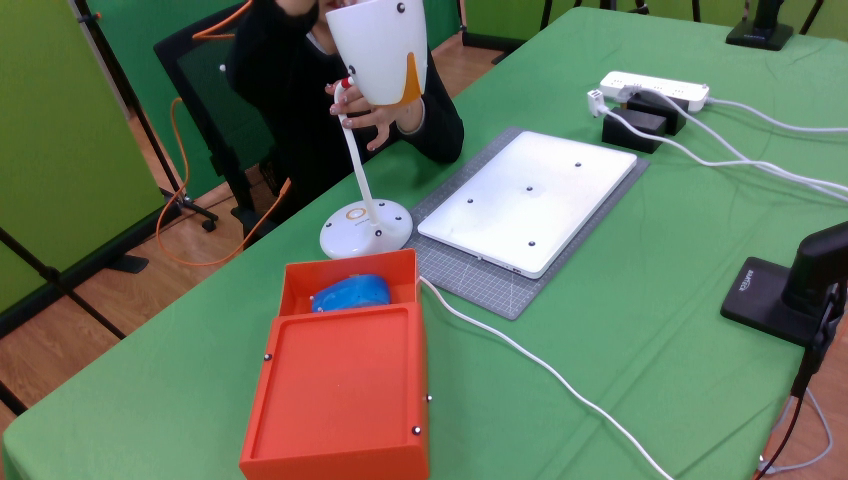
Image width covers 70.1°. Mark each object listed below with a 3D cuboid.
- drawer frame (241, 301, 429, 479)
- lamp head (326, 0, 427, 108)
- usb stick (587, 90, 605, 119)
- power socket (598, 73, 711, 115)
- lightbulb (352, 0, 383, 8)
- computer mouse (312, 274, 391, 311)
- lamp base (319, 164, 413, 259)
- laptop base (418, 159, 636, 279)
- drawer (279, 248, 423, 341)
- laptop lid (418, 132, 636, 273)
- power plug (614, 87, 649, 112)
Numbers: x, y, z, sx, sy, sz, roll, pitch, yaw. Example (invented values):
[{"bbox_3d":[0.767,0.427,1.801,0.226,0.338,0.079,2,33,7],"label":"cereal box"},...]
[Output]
[{"bbox_3d":[-0.096,0.183,0.741,0.202,0.083,0.212,-6,40,3],"label":"drawer frame"},{"bbox_3d":[-0.048,-0.216,0.707,0.112,0.123,0.112,-9,25,5],"label":"lamp head"},{"bbox_3d":[0.334,-0.258,1.170,0.021,0.059,0.027,-28,43,-6],"label":"usb stick"},{"bbox_3d":[0.469,-0.304,1.249,0.225,0.033,0.072,20,49,30],"label":"power socket"},{"bbox_3d":[-0.048,-0.247,0.695,0.059,0.108,0.059,-11,18,4],"label":"lightbulb"},{"bbox_3d":[-0.107,0.086,0.885,0.117,0.041,0.062,-14,40,0],"label":"computer mouse"},{"bbox_3d":[-0.102,-0.068,0.962,0.161,0.181,0.177,-30,47,-20],"label":"lamp base"},{"bbox_3d":[0.185,-0.074,1.042,0.233,0.023,0.355,19,48,35],"label":"laptop base"},{"bbox_3d":[-0.100,0.114,0.828,0.194,0.073,0.210,-7,40,2],"label":"drawer"},{"bbox_3d":[0.182,-0.084,1.036,0.239,0.013,0.358,22,49,35],"label":"laptop lid"},{"bbox_3d":[0.406,-0.275,1.192,0.035,0.053,0.072,-15,24,-15],"label":"power plug"}]
